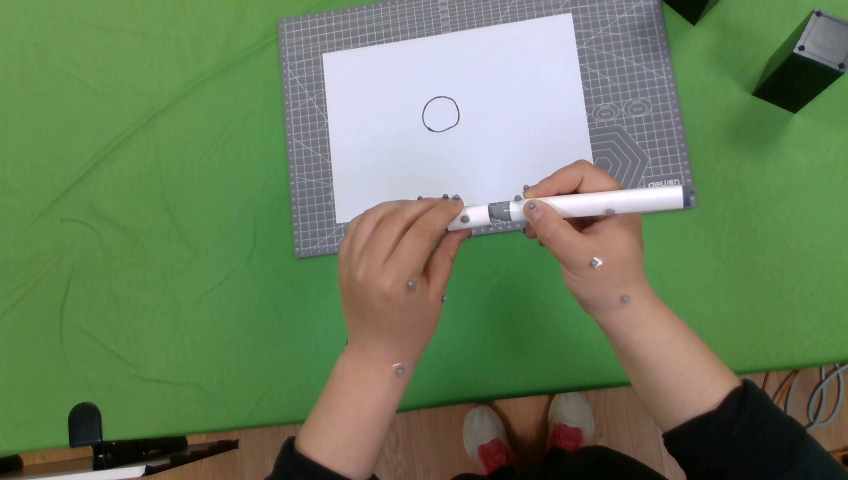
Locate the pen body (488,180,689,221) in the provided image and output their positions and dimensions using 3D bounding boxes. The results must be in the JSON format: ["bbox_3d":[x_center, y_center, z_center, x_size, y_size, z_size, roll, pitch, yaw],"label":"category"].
[{"bbox_3d":[0.100,-0.024,0.407,0.143,0.017,0.017,-5,80,21],"label":"pen body"}]

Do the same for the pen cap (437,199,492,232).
[{"bbox_3d":[0.029,-0.017,0.432,0.038,0.017,0.017,-16,79,9],"label":"pen cap"}]
